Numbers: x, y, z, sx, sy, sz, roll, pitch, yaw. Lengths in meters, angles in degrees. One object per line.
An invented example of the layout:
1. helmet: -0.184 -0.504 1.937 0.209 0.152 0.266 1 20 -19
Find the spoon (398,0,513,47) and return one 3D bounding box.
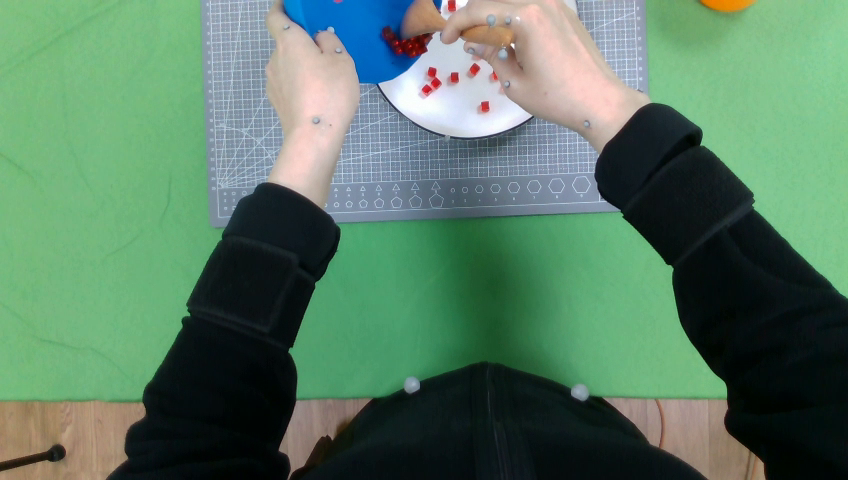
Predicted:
1. spoon: 0.020 -0.163 0.455 0.022 0.191 0.041 26 100 -34

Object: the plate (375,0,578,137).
1. plate: 0.044 -0.204 0.595 0.209 0.038 0.209 0 91 4

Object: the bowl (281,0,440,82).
1. bowl: -0.065 -0.213 0.501 0.076 0.153 0.151 26 92 40
